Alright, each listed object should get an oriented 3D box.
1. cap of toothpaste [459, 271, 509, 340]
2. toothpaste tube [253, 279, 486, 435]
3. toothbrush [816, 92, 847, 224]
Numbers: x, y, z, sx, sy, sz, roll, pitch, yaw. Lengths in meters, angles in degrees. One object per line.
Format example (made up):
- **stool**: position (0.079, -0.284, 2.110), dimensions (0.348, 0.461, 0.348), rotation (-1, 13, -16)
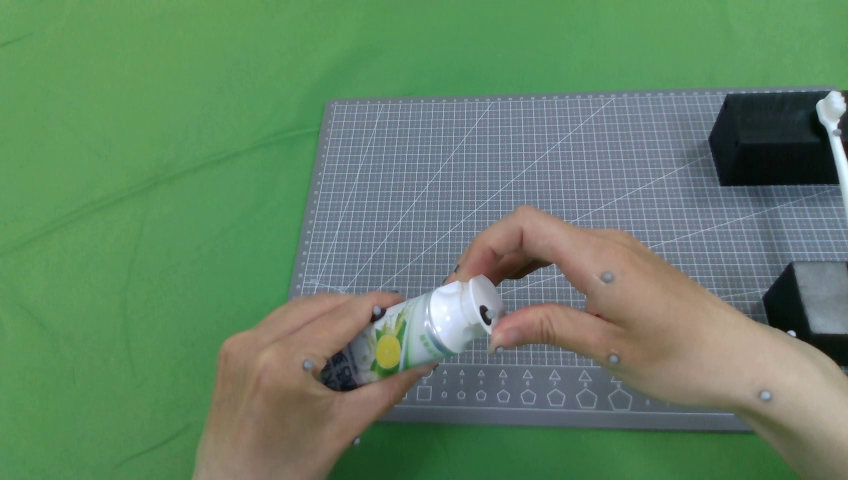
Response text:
- **cap of toothpaste**: position (0.029, 0.033, 0.300), dimensions (0.011, 0.038, 0.037), rotation (-28, 53, 26)
- **toothpaste tube**: position (-0.034, 0.062, 0.338), dimensions (0.165, 0.035, 0.054), rotation (-27, 73, 27)
- **toothbrush**: position (0.279, -0.026, 0.392), dimensions (0.014, 0.017, 0.180), rotation (12, 60, -5)
